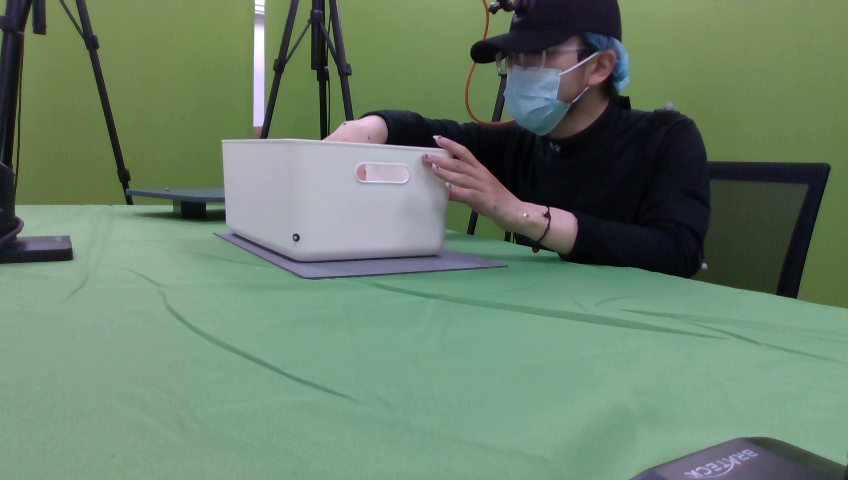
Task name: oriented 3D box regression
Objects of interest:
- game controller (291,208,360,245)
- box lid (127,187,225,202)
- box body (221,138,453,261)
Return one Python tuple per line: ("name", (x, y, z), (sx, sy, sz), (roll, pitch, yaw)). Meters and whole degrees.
("game controller", (-0.161, -0.023, 0.967), (0.097, 0.051, 0.154), (-5, 8, -15))
("box lid", (-0.449, -0.106, 1.393), (0.262, 0.015, 0.373), (6, 8, 28))
("box body", (-0.152, -0.074, 0.963), (0.255, 0.160, 0.362), (-3, 9, -32))
